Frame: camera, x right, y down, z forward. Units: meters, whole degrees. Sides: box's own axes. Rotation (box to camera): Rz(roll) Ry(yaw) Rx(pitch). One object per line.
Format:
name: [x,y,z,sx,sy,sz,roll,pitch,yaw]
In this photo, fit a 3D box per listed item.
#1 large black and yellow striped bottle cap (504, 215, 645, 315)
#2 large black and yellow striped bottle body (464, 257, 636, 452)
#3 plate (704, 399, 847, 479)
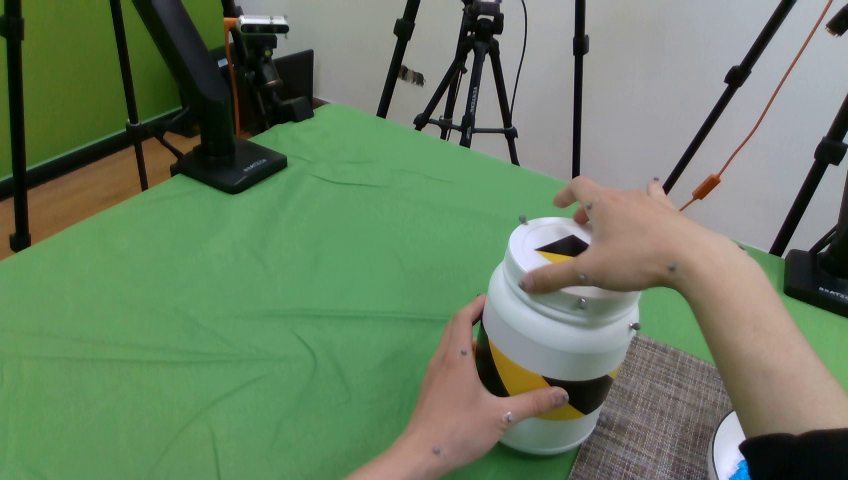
large black and yellow striped bottle cap: [0.124,0.017,0.503,0.115,0.019,0.114,5,36,-3]
large black and yellow striped bottle body: [0.113,0.088,0.552,0.131,0.185,0.129,6,36,-4]
plate: [0.344,0.231,0.523,0.208,0.039,0.205,6,35,-4]
